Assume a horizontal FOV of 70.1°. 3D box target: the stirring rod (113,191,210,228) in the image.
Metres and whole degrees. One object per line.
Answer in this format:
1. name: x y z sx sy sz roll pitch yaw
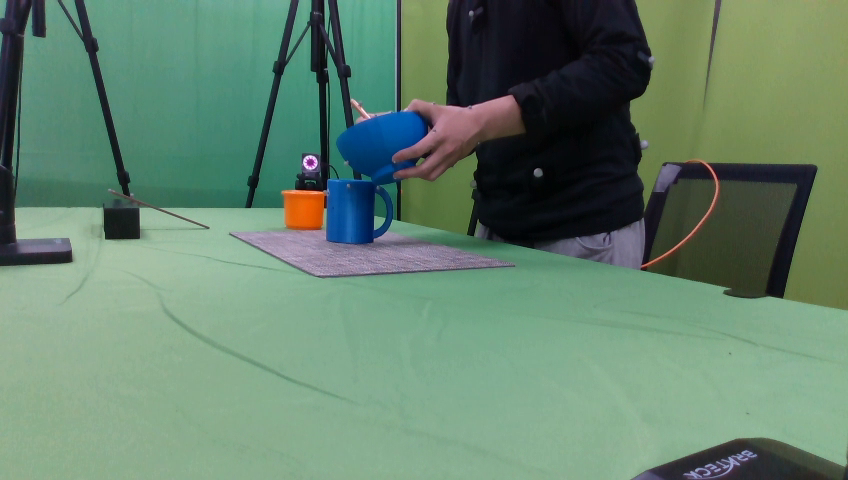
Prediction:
1. stirring rod: -0.484 -0.055 1.121 0.177 0.006 0.014 22 -6 -22

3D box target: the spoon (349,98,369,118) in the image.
1. spoon: -0.077 -0.192 1.002 0.022 0.042 0.193 -37 53 -16

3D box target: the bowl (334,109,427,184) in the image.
1. bowl: -0.058 -0.138 0.952 0.151 0.076 0.151 -17 -8 -2

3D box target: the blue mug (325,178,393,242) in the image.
1. blue mug: -0.111 -0.052 1.034 0.116 0.106 0.082 3 7 7
